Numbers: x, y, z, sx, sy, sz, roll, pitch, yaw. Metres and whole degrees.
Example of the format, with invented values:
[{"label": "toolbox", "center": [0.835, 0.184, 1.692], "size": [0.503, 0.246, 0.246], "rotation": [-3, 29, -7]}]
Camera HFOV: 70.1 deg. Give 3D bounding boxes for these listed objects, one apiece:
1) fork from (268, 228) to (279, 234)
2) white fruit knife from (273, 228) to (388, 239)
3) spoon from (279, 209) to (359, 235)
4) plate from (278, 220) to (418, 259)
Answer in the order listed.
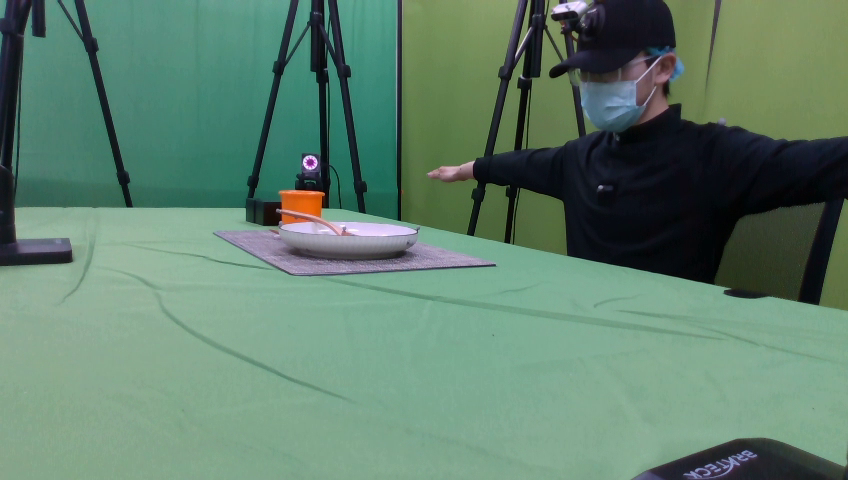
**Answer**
[{"label": "fork", "center": [-0.174, -0.017, 1.084], "size": [0.208, 0.018, 0.028], "rotation": [-3, -2, -30]}, {"label": "white fruit knife", "center": [-0.158, -0.009, 1.055], "size": [0.208, 0.016, 0.027], "rotation": [-3, -22, -23]}, {"label": "spoon", "center": [-0.163, -0.027, 0.976], "size": [0.193, 0.021, 0.042], "rotation": [21, 17, 30]}, {"label": "plate", "center": [-0.114, -0.002, 0.914], "size": [0.209, 0.038, 0.209], "rotation": [2, 7, 0]}]
